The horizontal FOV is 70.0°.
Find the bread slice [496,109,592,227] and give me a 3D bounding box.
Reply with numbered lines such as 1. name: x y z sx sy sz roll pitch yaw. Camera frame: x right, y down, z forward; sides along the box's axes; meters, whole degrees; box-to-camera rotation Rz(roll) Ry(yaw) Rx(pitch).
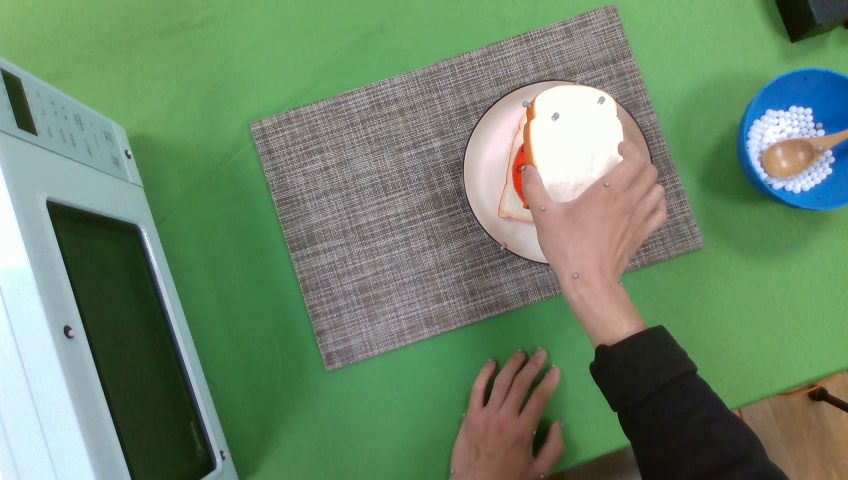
1. bread slice: 0.139 -0.085 0.678 0.107 0.018 0.134 6 85 2

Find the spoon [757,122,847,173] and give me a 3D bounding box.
1. spoon: 0.447 -0.120 0.628 0.193 0.022 0.041 -23 79 21

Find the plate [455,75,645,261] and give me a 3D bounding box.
1. plate: 0.138 -0.078 0.678 0.208 0.039 0.207 0 85 1

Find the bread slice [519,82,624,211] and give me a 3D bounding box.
1. bread slice: 0.144 -0.095 0.602 0.105 0.019 0.131 1 78 -7

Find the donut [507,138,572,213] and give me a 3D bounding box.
1. donut: 0.138 -0.078 0.650 0.099 0.048 0.099 0 86 2

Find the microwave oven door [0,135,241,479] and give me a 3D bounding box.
1. microwave oven door: -0.277 0.097 0.554 0.039 0.244 0.355 -21 85 -1

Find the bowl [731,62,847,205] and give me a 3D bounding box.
1. bowl: 0.399 -0.106 0.659 0.151 0.077 0.151 0 85 1

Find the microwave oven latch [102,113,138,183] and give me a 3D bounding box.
1. microwave oven latch: -0.347 -0.098 0.673 0.030 0.029 0.079 -20 86 -1

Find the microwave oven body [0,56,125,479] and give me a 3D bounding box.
1. microwave oven body: -0.428 0.109 0.561 0.326 0.260 0.440 -20 86 -1
